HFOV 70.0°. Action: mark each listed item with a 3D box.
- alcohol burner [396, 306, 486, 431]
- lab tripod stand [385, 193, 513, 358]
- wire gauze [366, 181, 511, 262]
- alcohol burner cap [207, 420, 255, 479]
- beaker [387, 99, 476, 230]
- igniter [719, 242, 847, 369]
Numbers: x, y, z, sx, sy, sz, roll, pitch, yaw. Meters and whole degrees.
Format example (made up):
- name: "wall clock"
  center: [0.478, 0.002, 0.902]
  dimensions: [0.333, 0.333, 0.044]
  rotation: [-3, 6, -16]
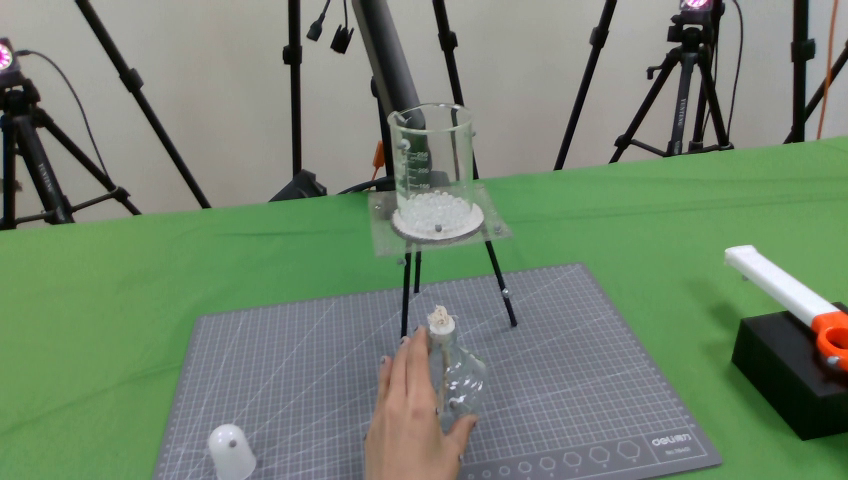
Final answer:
- name: "alcohol burner"
  center: [0.014, 0.101, 0.504]
  dimensions: [0.078, 0.120, 0.077]
  rotation: [-2, 33, 1]
- name: "lab tripod stand"
  center: [0.017, 0.029, 0.603]
  dimensions: [0.148, 0.132, 0.147]
  rotation: [-2, 30, 1]
- name: "wire gauze"
  center: [0.008, -0.025, 0.566]
  dimensions: [0.121, 0.011, 0.124]
  rotation: [-8, 33, -5]
- name: "alcohol burner cap"
  center: [-0.157, 0.165, 0.486]
  dimensions: [0.034, 0.048, 0.033]
  rotation: [-2, 32, 2]
- name: "beaker"
  center: [0.005, -0.067, 0.542]
  dimensions: [0.074, 0.101, 0.083]
  rotation: [-27, 38, -35]
- name: "igniter"
  center: [0.345, 0.072, 0.514]
  dimensions: [0.057, 0.025, 0.274]
  rotation: [-9, 28, -6]
